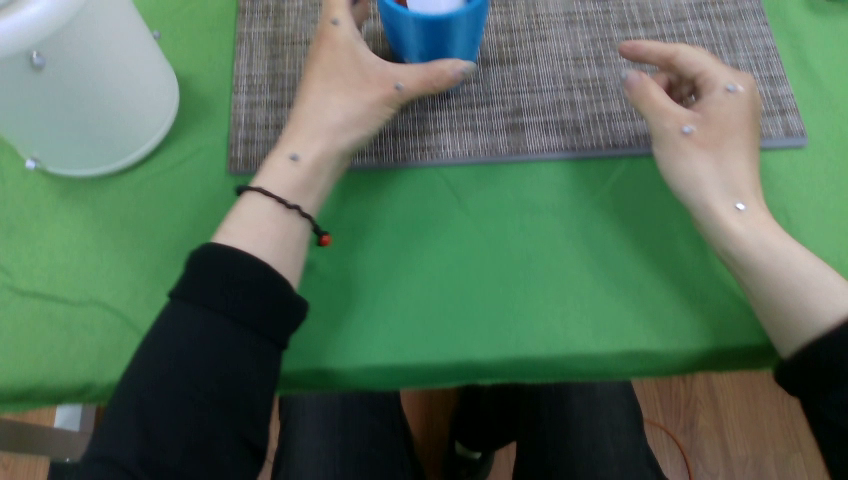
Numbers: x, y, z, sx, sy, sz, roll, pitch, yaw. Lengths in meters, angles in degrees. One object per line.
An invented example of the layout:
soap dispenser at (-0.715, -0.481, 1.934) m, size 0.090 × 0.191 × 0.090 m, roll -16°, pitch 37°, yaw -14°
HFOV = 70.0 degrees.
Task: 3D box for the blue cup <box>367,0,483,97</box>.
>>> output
blue cup at (0.003, -0.161, 0.455) m, size 0.092 × 0.101 × 0.092 m, roll -1°, pitch 68°, yaw 3°

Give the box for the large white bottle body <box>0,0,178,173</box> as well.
large white bottle body at (-0.260, -0.142, 0.399) m, size 0.130 × 0.186 × 0.129 m, roll 0°, pitch 68°, yaw 0°
